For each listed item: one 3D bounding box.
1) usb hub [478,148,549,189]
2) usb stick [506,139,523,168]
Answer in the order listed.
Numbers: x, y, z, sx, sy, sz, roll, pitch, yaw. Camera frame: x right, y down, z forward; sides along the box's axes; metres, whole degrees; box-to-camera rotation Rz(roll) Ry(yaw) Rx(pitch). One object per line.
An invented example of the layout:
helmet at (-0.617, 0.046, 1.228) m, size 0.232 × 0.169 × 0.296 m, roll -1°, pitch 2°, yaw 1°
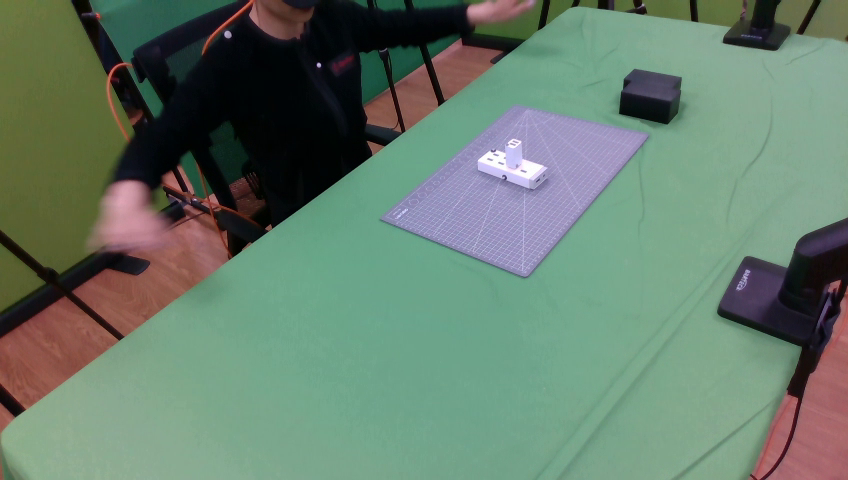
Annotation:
usb hub at (0.161, -0.131, 1.099) m, size 0.124 × 0.025 × 0.049 m, roll 26°, pitch 51°, yaw 34°
usb stick at (0.160, -0.148, 1.074) m, size 0.021 × 0.059 × 0.027 m, roll 24°, pitch 48°, yaw 33°
